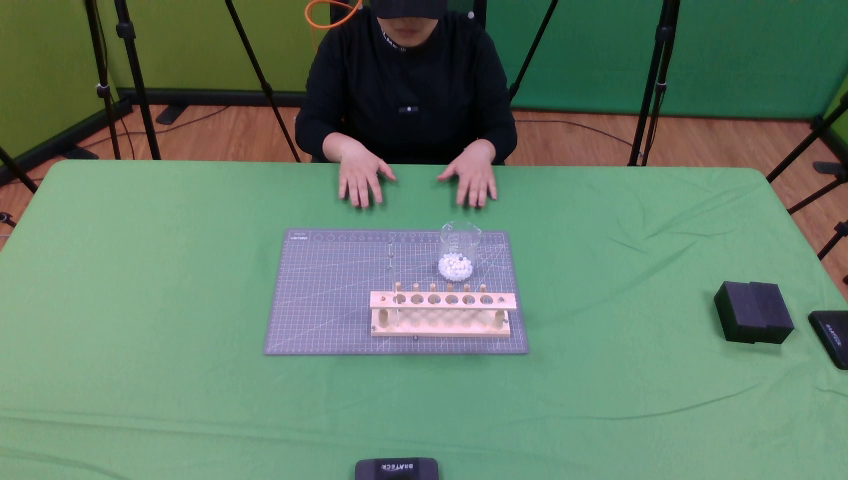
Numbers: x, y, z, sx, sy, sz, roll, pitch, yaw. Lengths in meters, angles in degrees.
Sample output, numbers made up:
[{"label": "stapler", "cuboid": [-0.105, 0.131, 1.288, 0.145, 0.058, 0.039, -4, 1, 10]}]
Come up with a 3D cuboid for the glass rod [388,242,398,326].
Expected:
[{"label": "glass rod", "cuboid": [-0.051, 0.076, 0.981, 0.008, 0.201, 0.008, -1, 44, 1]}]

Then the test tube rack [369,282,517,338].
[{"label": "test tube rack", "cuboid": [0.030, 0.116, 1.041, 0.242, 0.085, 0.066, 1, 46, -3]}]

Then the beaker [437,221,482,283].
[{"label": "beaker", "cuboid": [0.064, 0.024, 1.124, 0.084, 0.101, 0.073, -13, 49, -17]}]
